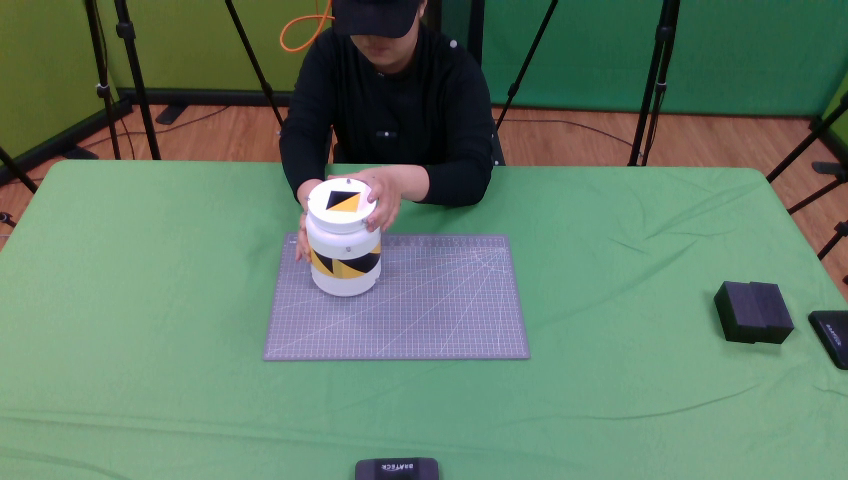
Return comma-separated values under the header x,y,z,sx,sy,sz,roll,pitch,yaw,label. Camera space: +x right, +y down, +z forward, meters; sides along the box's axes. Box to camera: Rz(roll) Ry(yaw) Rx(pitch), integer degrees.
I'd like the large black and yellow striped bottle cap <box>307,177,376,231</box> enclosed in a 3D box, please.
x,y,z,sx,sy,sz,roll,pitch,yaw,label
-0.137,-0.062,1.015,0.115,0.019,0.114,2,47,-2,large black and yellow striped bottle cap

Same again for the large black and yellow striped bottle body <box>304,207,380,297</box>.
x,y,z,sx,sy,sz,roll,pitch,yaw,label
-0.143,-0.003,1.075,0.131,0.185,0.130,2,46,-2,large black and yellow striped bottle body
